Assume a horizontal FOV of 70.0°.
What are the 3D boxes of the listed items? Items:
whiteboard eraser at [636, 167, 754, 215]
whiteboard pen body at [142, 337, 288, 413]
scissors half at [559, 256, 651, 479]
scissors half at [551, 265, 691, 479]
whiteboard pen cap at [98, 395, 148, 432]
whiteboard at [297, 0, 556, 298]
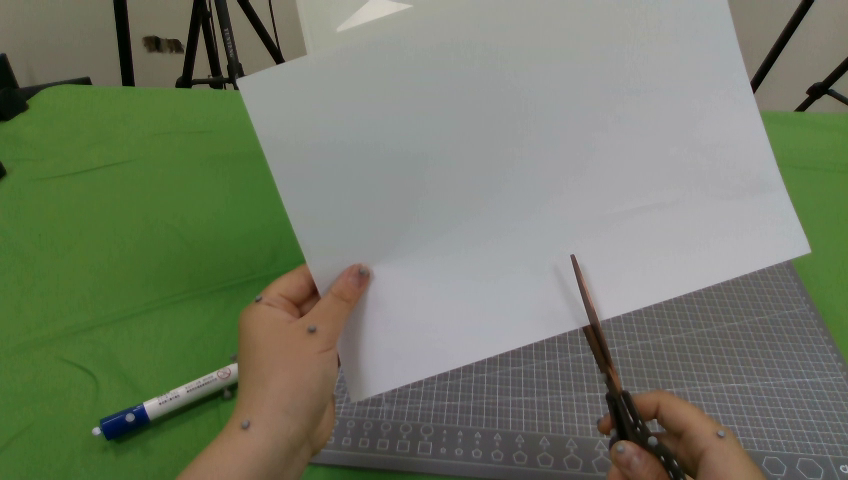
[{"bbox_3d":[0.296,-0.054,0.668,0.113,0.042,0.055,2,41,1],"label":"whiteboard eraser"},{"bbox_3d":[-0.175,0.110,0.480,0.141,0.017,0.017,-22,44,-27],"label":"whiteboard pen body"},{"bbox_3d":[0.113,0.092,0.371,0.013,0.175,0.040,-21,5,-8],"label":"scissors half"},{"bbox_3d":[0.112,0.085,0.348,0.013,0.040,0.173,-22,58,-4],"label":"scissors half"},{"bbox_3d":[-0.224,0.129,0.454,0.033,0.018,0.018,-23,44,-26],"label":"whiteboard pen cap"},{"bbox_3d":[-0.007,-0.132,0.605,0.218,0.307,0.142,-15,21,-16],"label":"whiteboard"}]
